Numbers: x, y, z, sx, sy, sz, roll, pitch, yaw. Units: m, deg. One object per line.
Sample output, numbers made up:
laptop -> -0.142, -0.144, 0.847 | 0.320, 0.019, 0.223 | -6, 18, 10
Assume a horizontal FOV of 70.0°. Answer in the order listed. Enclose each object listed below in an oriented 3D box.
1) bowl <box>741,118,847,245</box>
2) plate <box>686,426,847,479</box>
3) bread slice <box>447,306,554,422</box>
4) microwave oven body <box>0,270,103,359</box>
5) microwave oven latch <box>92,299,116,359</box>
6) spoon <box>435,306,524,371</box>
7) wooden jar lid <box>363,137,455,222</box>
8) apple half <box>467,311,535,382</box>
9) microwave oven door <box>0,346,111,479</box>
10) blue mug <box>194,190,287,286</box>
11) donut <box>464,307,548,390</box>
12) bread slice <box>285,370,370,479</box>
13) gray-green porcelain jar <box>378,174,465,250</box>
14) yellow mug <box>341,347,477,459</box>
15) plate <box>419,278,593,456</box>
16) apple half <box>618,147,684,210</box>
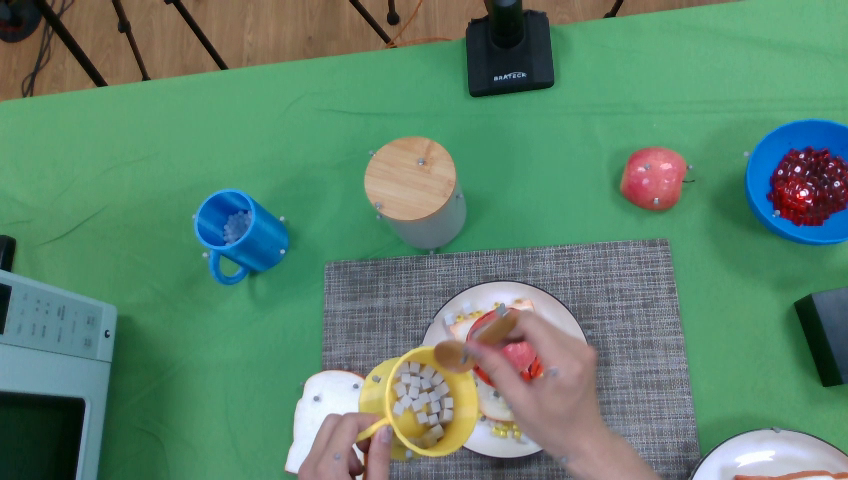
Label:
bowl -> 0.444, -0.057, 0.711 | 0.151, 0.077, 0.150 | -3, 73, 10
plate -> 0.376, 0.303, 0.635 | 0.209, 0.038, 0.208 | -3, 73, 10
bread slice -> 0.100, 0.152, 0.738 | 0.107, 0.018, 0.133 | -21, 66, 0
microwave oven body -> -0.601, 0.272, 0.703 | 0.325, 0.262, 0.439 | -4, 73, 9
microwave oven latch -> -0.442, 0.121, 0.822 | 0.030, 0.030, 0.078 | 0, 74, 10
spoon -> 0.044, 0.084, 0.497 | 0.041, 0.194, 0.021 | 32, 69, 0
wooden jar lid -> -0.017, -0.069, 0.707 | 0.108, 0.021, 0.107 | -3, 70, 8
apple half -> 0.085, 0.116, 0.674 | 0.081, 0.033, 0.080 | -6, 67, 15
microwave oven door -> -0.457, 0.300, 0.662 | 0.039, 0.245, 0.353 | -5, 72, 10
blue mug -> -0.247, 0.005, 0.805 | 0.082, 0.106, 0.116 | 16, 77, 15
donut -> 0.095, 0.126, 0.708 | 0.099, 0.048, 0.098 | -3, 73, 10
bread slice -> -0.116, 0.229, 0.757 | 0.104, 0.019, 0.131 | 3, 76, 10
gray-green porcelain jar -> -0.004, -0.050, 0.767 | 0.105, 0.127, 0.105 | -3, 72, 10
yellow mug -> -0.019, 0.163, 0.577 | 0.131, 0.064, 0.099 | -20, 82, -34
plate -> 0.096, 0.151, 0.730 | 0.207, 0.039, 0.206 | -3, 73, 10
apple half -> 0.287, -0.083, 0.762 | 0.074, 0.054, 0.080 | 18, 77, 18
